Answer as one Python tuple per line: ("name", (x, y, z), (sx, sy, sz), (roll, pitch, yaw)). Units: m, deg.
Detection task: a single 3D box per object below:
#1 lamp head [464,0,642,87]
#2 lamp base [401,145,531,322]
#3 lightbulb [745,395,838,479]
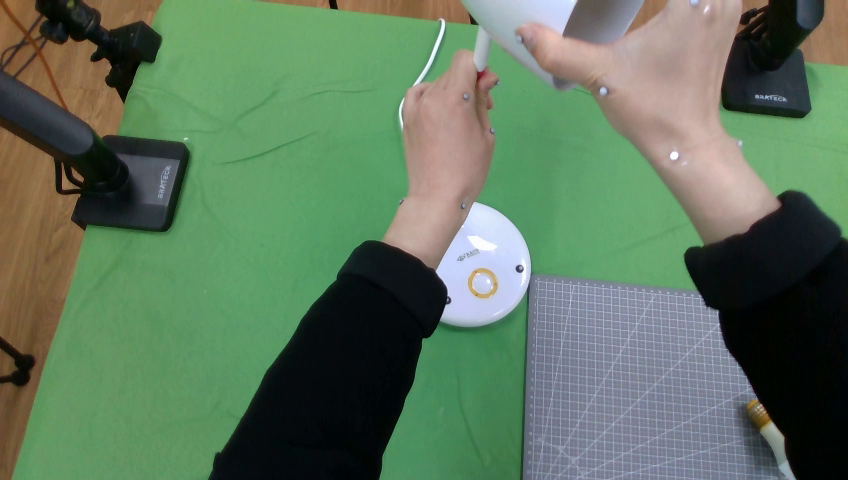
("lamp head", (0.069, -0.170, 0.378), (0.122, 0.113, 0.112), (36, 72, 25))
("lamp base", (0.046, -0.015, 0.671), (0.160, 0.181, 0.178), (-34, 72, -14))
("lightbulb", (0.402, 0.217, 0.672), (0.059, 0.060, 0.106), (-31, 58, -13))
